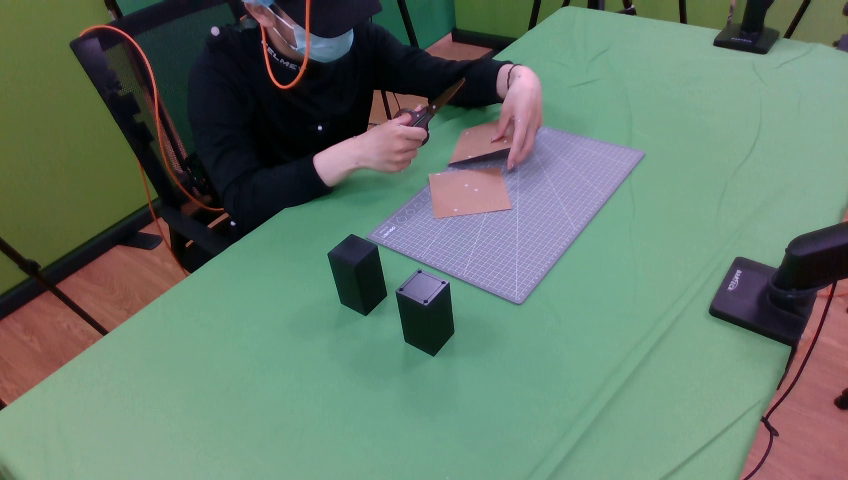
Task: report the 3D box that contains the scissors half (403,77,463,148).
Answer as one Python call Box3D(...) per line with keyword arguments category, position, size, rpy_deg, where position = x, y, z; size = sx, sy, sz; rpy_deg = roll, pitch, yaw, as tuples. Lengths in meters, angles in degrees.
Box3D(category="scissors half", position=(0.016, -0.217, 1.038), size=(0.040, 0.175, 0.013), rpy_deg=(45, 42, 3))

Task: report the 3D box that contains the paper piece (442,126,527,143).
Box3D(category="paper piece", position=(0.118, -0.201, 1.158), size=(0.135, 0.008, 0.138), rpy_deg=(4, 23, 18))

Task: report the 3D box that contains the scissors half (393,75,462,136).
Box3D(category="scissors half", position=(0.003, -0.232, 1.037), size=(0.174, 0.040, 0.013), rpy_deg=(-29, 14, 40))

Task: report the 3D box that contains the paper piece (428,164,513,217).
Box3D(category="paper piece", position=(0.079, -0.090, 1.069), size=(0.135, 0.004, 0.135), rpy_deg=(-7, 41, 0))
